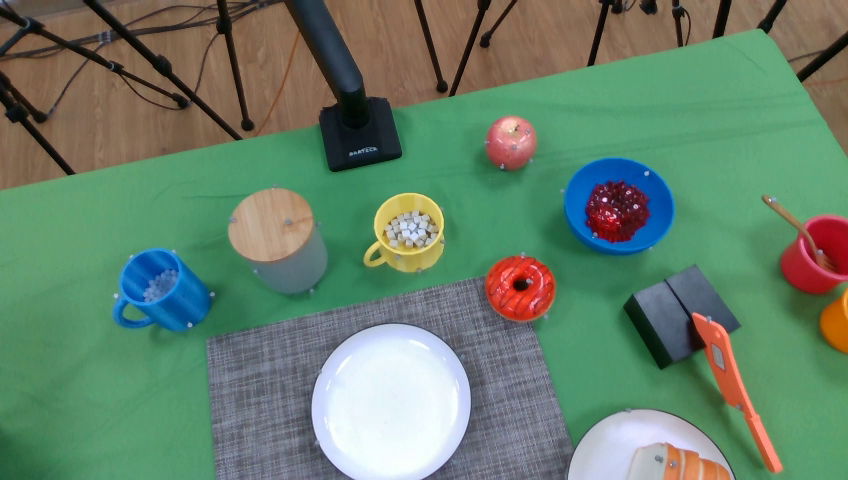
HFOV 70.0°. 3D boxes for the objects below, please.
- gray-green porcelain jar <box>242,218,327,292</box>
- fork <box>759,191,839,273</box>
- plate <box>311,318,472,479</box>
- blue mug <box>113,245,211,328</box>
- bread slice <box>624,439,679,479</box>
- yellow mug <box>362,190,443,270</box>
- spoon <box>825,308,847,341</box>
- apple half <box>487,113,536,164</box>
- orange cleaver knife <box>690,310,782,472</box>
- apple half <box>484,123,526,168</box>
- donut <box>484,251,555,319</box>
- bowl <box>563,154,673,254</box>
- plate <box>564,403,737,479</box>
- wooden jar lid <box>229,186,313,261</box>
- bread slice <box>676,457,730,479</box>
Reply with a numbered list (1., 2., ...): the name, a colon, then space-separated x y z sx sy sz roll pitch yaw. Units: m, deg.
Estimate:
1. gray-green porcelain jar: -0.195 0.008 0.842 0.106 0.127 0.105 -1 64 2
2. fork: 0.507 -0.009 0.814 0.209 0.018 0.028 34 63 -29
3. plate: -0.042 0.206 0.789 0.207 0.039 0.206 -1 65 2
4. blue mug: -0.364 0.075 0.827 0.116 0.106 0.081 -37 68 -14
5. bread slice: 0.252 0.277 0.689 0.018 0.135 0.106 21 64 9
6. yellow mug: -0.034 -0.005 0.876 0.131 0.064 0.099 -35 68 -13
7. spoon: 0.612 0.074 0.770 0.022 0.194 0.041 8 52 -45
8. apple half: 0.142 -0.161 0.939 0.080 0.075 0.053 39 66 22
9. orange cleaver knife: 0.389 0.187 0.762 0.012 0.077 0.211 -23 90 -5
10. apple half: 0.116 -0.135 0.926 0.081 0.082 0.033 40 67 19
11. donut: 0.133 0.063 0.846 0.099 0.048 0.098 -1 66 2
12. bowl: 0.271 -0.039 0.874 0.151 0.077 0.150 -1 65 2
13. plate: 0.272 0.307 0.734 0.209 0.038 0.207 -1 65 2
14. wooden jar lid: -0.197 -0.020 0.786 0.108 0.021 0.107 -1 63 3
15. bread slice: 0.299 0.296 0.678 0.019 0.132 0.104 24 70 7
